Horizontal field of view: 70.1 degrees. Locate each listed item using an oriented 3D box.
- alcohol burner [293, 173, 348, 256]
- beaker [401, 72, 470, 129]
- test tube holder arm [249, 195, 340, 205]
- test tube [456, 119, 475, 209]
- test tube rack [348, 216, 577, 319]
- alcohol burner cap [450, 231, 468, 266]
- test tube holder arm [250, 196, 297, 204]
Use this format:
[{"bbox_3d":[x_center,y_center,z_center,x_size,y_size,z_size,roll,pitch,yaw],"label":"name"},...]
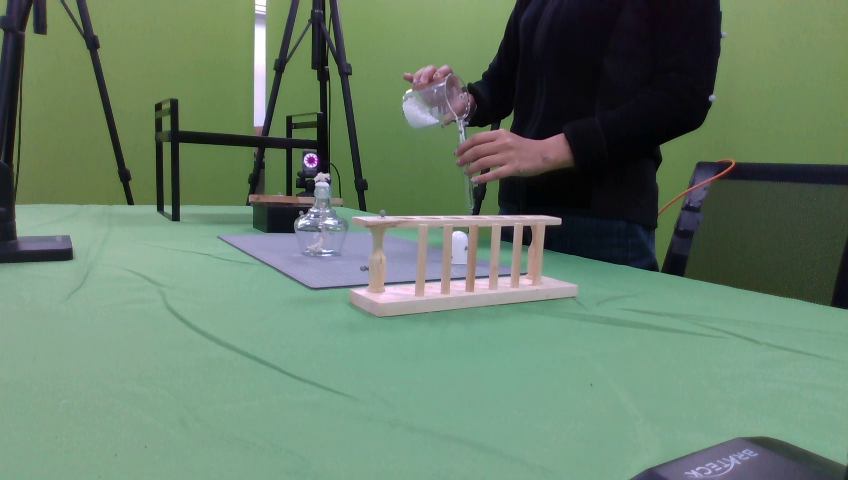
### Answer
[{"bbox_3d":[-0.147,-0.036,0.859,0.078,0.119,0.078,4,8,0],"label":"alcohol burner"},{"bbox_3d":[0.018,-0.231,1.030,0.100,0.084,0.074,-9,2,37],"label":"beaker"},{"bbox_3d":[-0.247,-0.077,1.169,0.179,0.015,0.013,-1,11,-31],"label":"test tube holder arm"},{"bbox_3d":[0.069,-0.126,1.001,0.017,0.150,0.017,-7,-2,0],"label":"test tube"},{"bbox_3d":[0.048,0.021,0.619,0.244,0.085,0.066,-2,9,-31],"label":"test tube rack"},{"bbox_3d":[0.046,0.011,0.838,0.034,0.048,0.034,3,7,0],"label":"alcohol burner cap"},{"bbox_3d":[-0.284,-0.076,1.141,0.088,0.015,0.010,0,11,-29],"label":"test tube holder arm"}]
